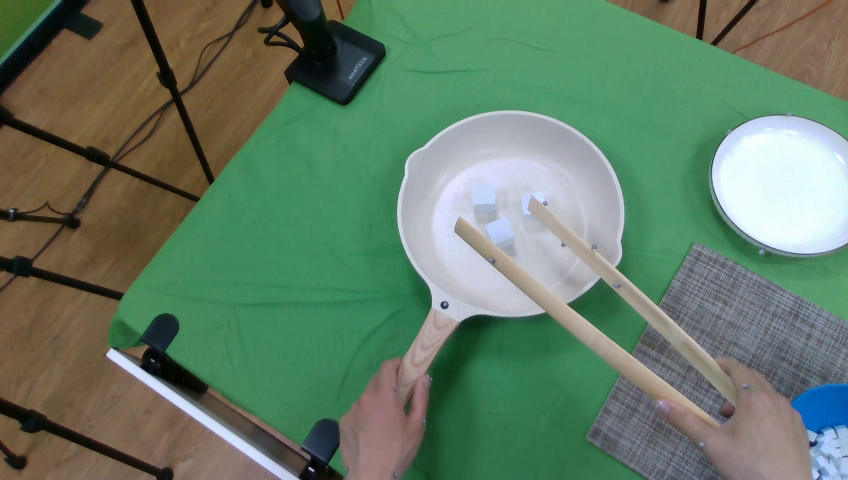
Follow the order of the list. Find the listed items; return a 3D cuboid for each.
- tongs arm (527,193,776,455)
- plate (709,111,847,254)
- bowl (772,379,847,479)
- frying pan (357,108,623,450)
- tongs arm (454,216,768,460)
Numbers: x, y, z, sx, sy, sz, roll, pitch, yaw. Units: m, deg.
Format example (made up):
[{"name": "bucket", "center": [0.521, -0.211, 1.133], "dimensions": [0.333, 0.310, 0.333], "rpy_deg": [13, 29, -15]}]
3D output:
[{"name": "tongs arm", "center": [0.221, 0.068, 0.667], "dimensions": [0.051, 0.027, 0.380], "rpy_deg": [-15, 46, -32]}, {"name": "plate", "center": [0.487, -0.076, 0.812], "dimensions": [0.207, 0.039, 0.206], "rpy_deg": [-2, 69, 5]}, {"name": "bowl", "center": [0.455, 0.236, 0.673], "dimensions": [0.151, 0.077, 0.150], "rpy_deg": [-1, 69, 4]}, {"name": "frying pan", "center": [0.056, 0.044, 0.767], "dimensions": [0.305, 0.103, 0.486], "rpy_deg": [28, 66, 15]}, {"name": "tongs arm", "center": [0.166, 0.086, 0.631], "dimensions": [0.028, 0.028, 0.384], "rpy_deg": [-21, 49, -40]}]
